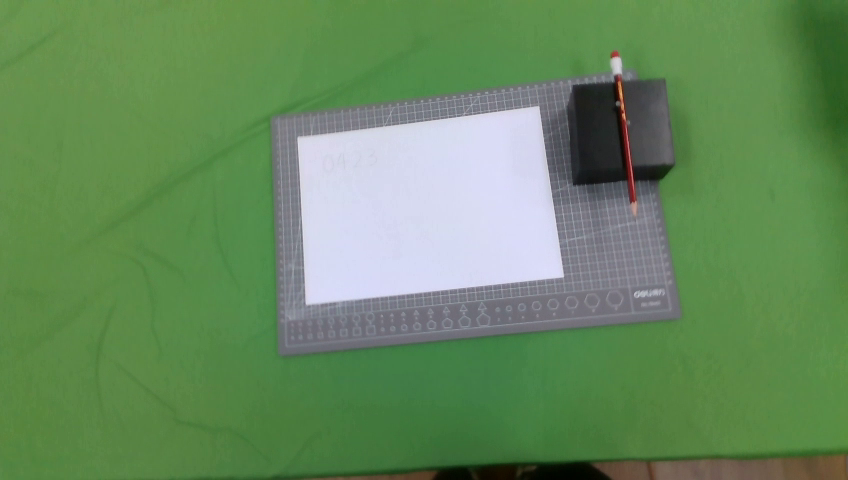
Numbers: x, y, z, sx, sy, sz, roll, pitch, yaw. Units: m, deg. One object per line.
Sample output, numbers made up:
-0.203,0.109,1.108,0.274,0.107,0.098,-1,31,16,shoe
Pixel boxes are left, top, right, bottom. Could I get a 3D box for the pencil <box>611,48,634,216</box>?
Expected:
0.216,-0.119,0.656,0.012,0.012,0.193,-2,77,5,pencil
